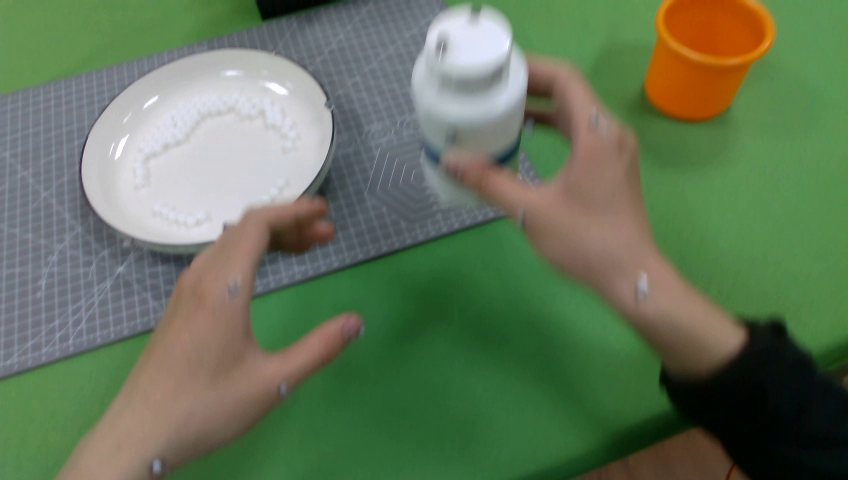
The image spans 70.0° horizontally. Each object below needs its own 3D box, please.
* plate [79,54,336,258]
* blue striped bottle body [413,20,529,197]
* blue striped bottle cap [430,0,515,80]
[{"bbox_3d":[-0.175,-0.071,0.510,0.207,0.039,0.205,-1,59,2],"label":"plate"},{"bbox_3d":[0.027,-0.081,0.355,0.063,0.122,0.062,-2,63,4],"label":"blue striped bottle body"},{"bbox_3d":[0.025,-0.105,0.310,0.044,0.021,0.044,-3,64,6],"label":"blue striped bottle cap"}]
